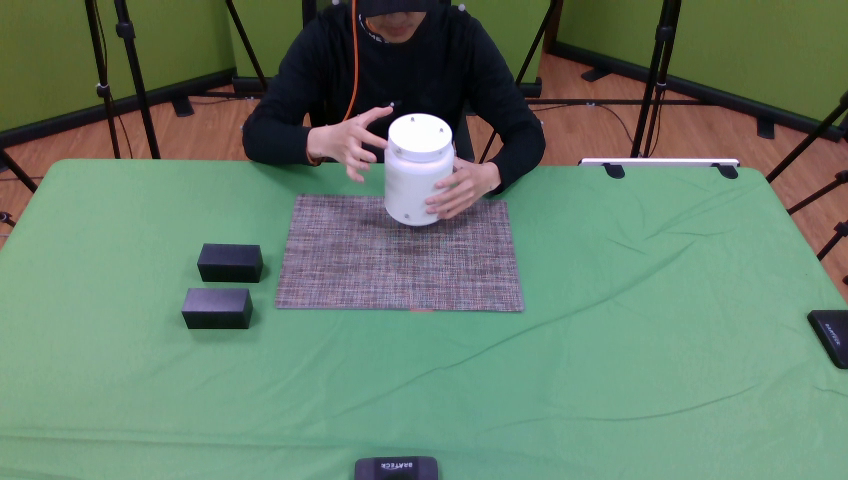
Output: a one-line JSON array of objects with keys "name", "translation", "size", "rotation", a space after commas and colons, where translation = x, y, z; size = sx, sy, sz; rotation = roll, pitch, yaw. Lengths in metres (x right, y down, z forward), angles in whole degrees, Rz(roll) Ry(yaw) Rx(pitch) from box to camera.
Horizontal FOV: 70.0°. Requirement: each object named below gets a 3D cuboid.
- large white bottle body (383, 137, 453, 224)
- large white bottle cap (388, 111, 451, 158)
[{"name": "large white bottle body", "translation": [-0.012, -0.135, 1.156], "size": [0.131, 0.185, 0.130], "rotation": [2, 48, -2]}, {"name": "large white bottle cap", "translation": [-0.008, -0.192, 1.094], "size": [0.115, 0.018, 0.114], "rotation": [2, 48, -2]}]
